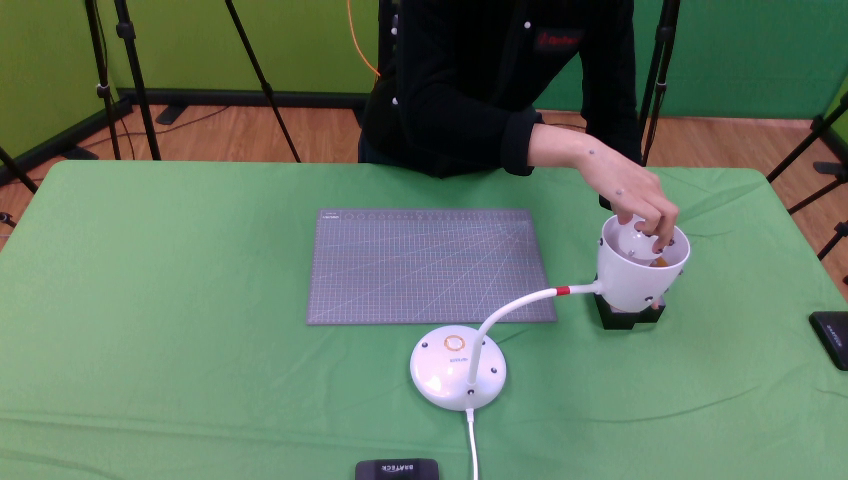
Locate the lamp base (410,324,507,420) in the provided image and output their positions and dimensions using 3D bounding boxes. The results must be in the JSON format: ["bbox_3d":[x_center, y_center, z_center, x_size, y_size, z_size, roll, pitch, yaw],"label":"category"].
[{"bbox_3d":[0.064,0.164,0.937,0.161,0.181,0.178,-10,51,-13],"label":"lamp base"}]

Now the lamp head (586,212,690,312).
[{"bbox_3d":[0.281,0.040,0.820,0.112,0.123,0.111,6,41,-5],"label":"lamp head"}]

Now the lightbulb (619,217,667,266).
[{"bbox_3d":[0.286,0.018,0.808,0.059,0.108,0.059,1,38,0],"label":"lightbulb"}]
